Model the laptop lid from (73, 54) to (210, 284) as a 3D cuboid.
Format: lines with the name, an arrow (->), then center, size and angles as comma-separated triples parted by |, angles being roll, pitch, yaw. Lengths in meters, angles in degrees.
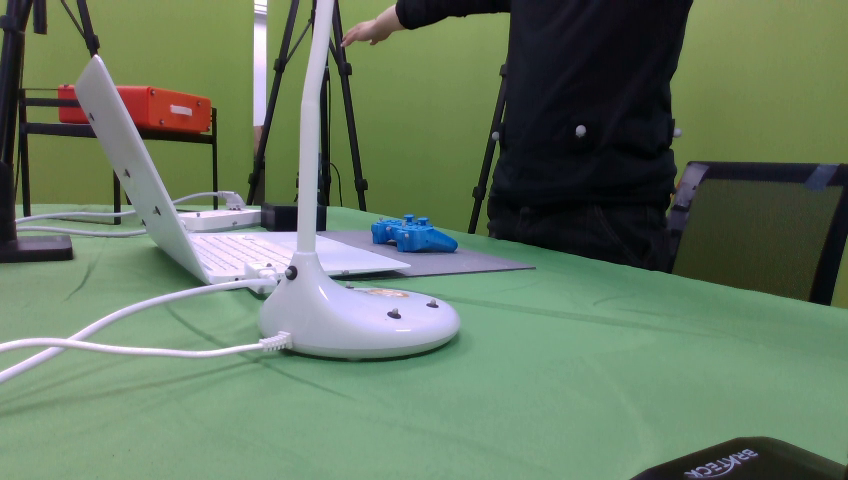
laptop lid -> -0.341, -0.079, 0.704 | 0.013, 0.242, 0.355 | -30, 23, -26

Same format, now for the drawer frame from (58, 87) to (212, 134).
drawer frame -> -0.593, -0.268, 1.260 | 0.213, 0.082, 0.202 | 4, 8, 14

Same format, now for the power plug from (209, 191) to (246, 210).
power plug -> -0.388, -0.071, 1.204 | 0.072, 0.052, 0.035 | 4, 8, 25

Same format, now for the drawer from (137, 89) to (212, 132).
drawer -> -0.588, -0.267, 1.260 | 0.211, 0.073, 0.195 | 3, 8, 15

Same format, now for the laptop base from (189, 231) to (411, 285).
laptop base -> -0.204, 0.019, 0.807 | 0.237, 0.023, 0.352 | 0, 7, -33

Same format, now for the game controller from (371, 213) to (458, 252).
game controller -> -0.021, -0.014, 0.978 | 0.097, 0.051, 0.154 | -8, 11, -28

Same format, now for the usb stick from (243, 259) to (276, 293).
usb stick -> -0.166, 0.035, 0.603 | 0.021, 0.027, 0.059 | -8, 8, -28

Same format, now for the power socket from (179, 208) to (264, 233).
power socket -> -0.381, -0.038, 1.128 | 0.072, 0.032, 0.227 | 4, 8, 16

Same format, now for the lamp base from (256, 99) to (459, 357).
lamp base -> -0.055, -0.013, 0.463 | 0.160, 0.180, 0.180 | 6, 11, 27
